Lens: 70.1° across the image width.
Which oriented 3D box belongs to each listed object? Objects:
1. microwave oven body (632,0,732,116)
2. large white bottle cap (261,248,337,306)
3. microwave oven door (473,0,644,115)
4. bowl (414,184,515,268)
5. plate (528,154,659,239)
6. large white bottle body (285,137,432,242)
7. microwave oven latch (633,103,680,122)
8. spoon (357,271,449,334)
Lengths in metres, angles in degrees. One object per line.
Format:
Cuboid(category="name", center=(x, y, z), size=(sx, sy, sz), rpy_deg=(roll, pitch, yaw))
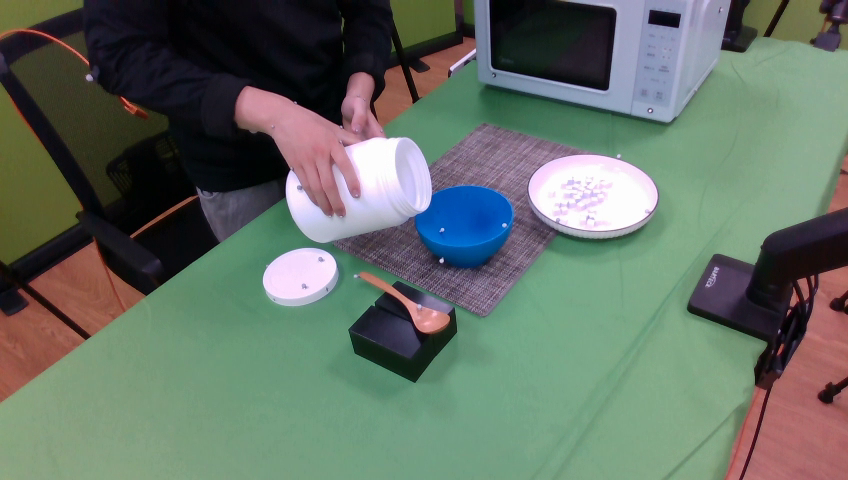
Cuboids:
Cuboid(category="microwave oven body", center=(0.377, -0.462, 1.267), size=(0.438, 0.261, 0.327), rpy_deg=(21, 49, 30))
Cuboid(category="large white bottle cap", center=(-0.193, 0.056, 0.934), size=(0.115, 0.018, 0.114), rpy_deg=(-4, 41, 4))
Cuboid(category="microwave oven door", center=(0.257, -0.396, 1.199), size=(0.353, 0.245, 0.039), rpy_deg=(21, 48, 29))
Cuboid(category="bowl", center=(0.063, -0.010, 0.922), size=(0.151, 0.077, 0.150), rpy_deg=(-4, 40, 4))
Cuboid(category="plate", center=(0.274, -0.069, 0.993), size=(0.209, 0.038, 0.208), rpy_deg=(-2, 42, 2))
Cuboid(category="large white bottle body", center=(-0.094, -0.075, 0.884), size=(0.184, 0.131, 0.130), rpy_deg=(-12, 36, 26))
Cuboid(category="microwave oven latch", center=(0.443, -0.249, 1.157), size=(0.078, 0.029, 0.030), rpy_deg=(20, 48, 30))
Cuboid(category="spoon", center=(-0.034, 0.078, 0.812), size=(0.042, 0.022, 0.192), rpy_deg=(-34, 42, -24))
